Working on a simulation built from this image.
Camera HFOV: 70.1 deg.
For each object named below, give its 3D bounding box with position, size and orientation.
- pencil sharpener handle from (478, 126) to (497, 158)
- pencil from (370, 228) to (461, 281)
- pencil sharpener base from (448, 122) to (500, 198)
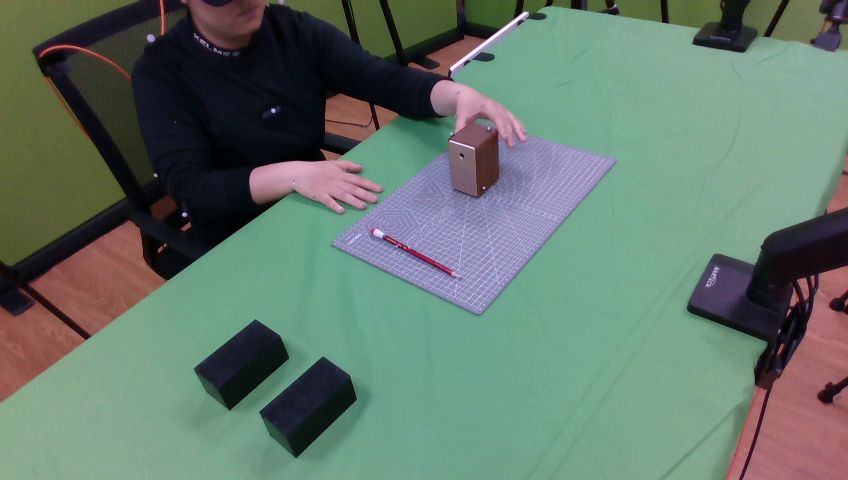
[{"bbox_3d":[0.118,-0.178,1.074,0.035,0.068,0.031,25,50,28],"label":"pencil sharpener handle"},{"bbox_3d":[-0.016,0.022,0.952,0.192,0.012,0.012,28,52,33],"label":"pencil"},{"bbox_3d":[0.089,-0.140,1.052,0.061,0.107,0.077,22,48,31],"label":"pencil sharpener base"}]
